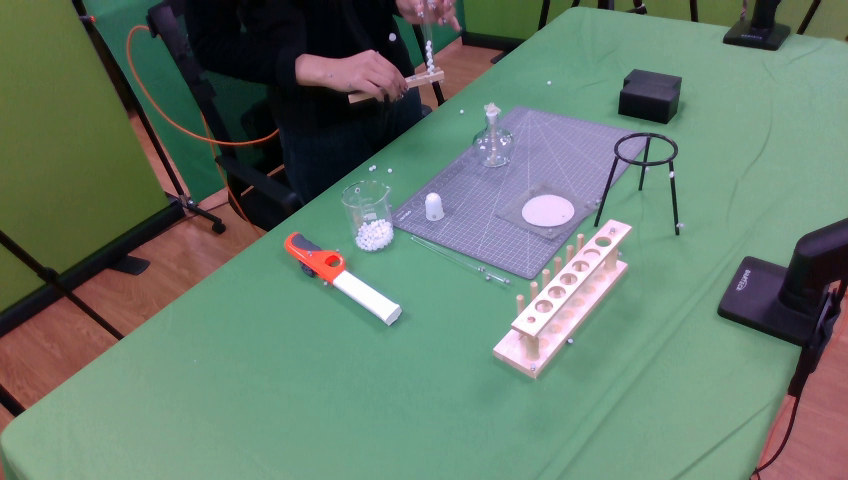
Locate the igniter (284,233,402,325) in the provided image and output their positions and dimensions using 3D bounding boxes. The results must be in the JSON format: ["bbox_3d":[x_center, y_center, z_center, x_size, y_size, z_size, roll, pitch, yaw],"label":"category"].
[{"bbox_3d":[-0.136,0.054,0.942,0.274,0.025,0.057,29,63,37],"label":"igniter"}]

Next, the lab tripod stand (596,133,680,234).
[{"bbox_3d":[0.338,-0.091,0.940,0.148,0.132,0.147,-7,39,6],"label":"lab tripod stand"}]

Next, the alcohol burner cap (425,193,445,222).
[{"bbox_3d":[0.017,-0.058,1.029,0.034,0.048,0.033,-6,40,5],"label":"alcohol burner cap"}]

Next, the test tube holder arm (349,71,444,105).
[{"bbox_3d":[-0.047,-0.273,1.083,0.179,0.015,0.013,-20,37,-12],"label":"test tube holder arm"}]

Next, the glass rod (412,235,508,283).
[{"bbox_3d":[0.051,0.028,0.951,0.198,0.008,0.008,25,51,37],"label":"glass rod"}]

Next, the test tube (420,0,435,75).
[{"bbox_3d":[0.006,-0.357,1.055,0.017,0.151,0.017,-4,36,3],"label":"test tube"}]

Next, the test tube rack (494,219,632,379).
[{"bbox_3d":[0.191,0.068,0.818,0.066,0.085,0.243,25,51,35],"label":"test tube rack"}]

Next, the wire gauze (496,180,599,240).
[{"bbox_3d":[0.206,-0.050,1.012,0.125,0.011,0.120,-34,45,-26],"label":"wire gauze"}]

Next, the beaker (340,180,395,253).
[{"bbox_3d":[-0.087,-0.037,0.985,0.084,0.101,0.073,-18,41,-11],"label":"beaker"}]

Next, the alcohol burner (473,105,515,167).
[{"bbox_3d":[0.128,-0.196,1.116,0.078,0.119,0.077,-4,40,4],"label":"alcohol burner"}]

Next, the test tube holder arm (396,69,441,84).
[{"bbox_3d":[-0.009,-0.292,1.098,0.088,0.015,0.010,-23,38,-17],"label":"test tube holder arm"}]
